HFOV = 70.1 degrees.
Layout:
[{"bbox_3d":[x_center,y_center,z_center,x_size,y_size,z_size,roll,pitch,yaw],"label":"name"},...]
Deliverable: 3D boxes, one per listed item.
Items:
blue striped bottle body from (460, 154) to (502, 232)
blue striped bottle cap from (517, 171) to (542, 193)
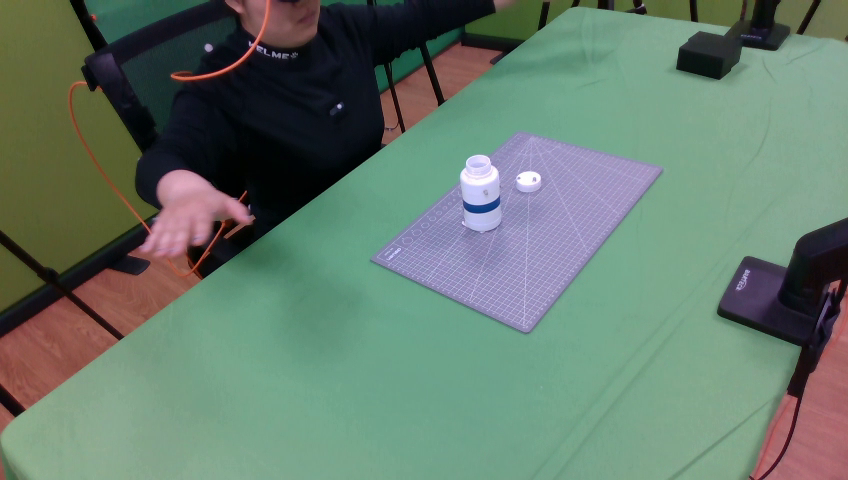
[{"bbox_3d":[0.092,-0.078,0.976,0.063,0.121,0.063,-6,40,5],"label":"blue striped bottle body"},{"bbox_3d":[0.187,-0.103,1.072,0.044,0.021,0.044,-5,42,5],"label":"blue striped bottle cap"}]
